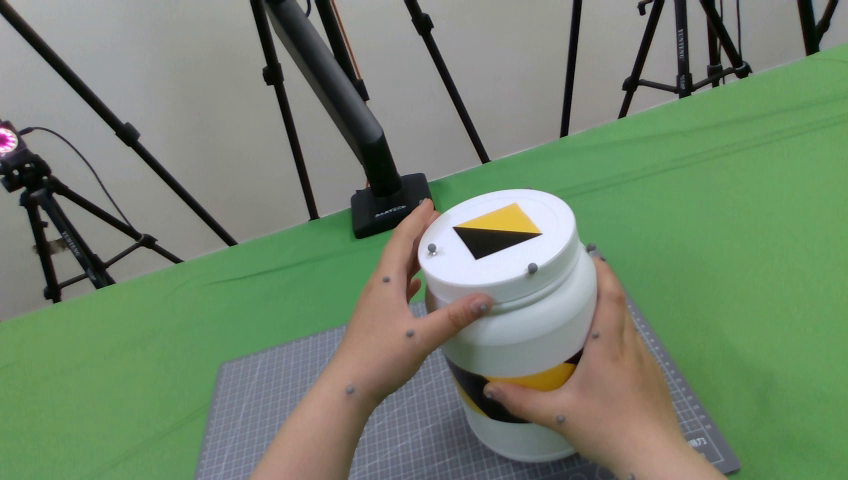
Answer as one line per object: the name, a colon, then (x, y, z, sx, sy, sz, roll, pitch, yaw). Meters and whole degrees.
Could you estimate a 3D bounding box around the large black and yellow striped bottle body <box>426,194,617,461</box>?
large black and yellow striped bottle body: (0.077, 0.069, 0.479, 0.130, 0.186, 0.129, -14, 33, 10)

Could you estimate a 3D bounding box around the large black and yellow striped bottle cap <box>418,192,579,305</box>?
large black and yellow striped bottle cap: (0.052, 0.002, 0.433, 0.115, 0.019, 0.114, -13, 33, 9)
